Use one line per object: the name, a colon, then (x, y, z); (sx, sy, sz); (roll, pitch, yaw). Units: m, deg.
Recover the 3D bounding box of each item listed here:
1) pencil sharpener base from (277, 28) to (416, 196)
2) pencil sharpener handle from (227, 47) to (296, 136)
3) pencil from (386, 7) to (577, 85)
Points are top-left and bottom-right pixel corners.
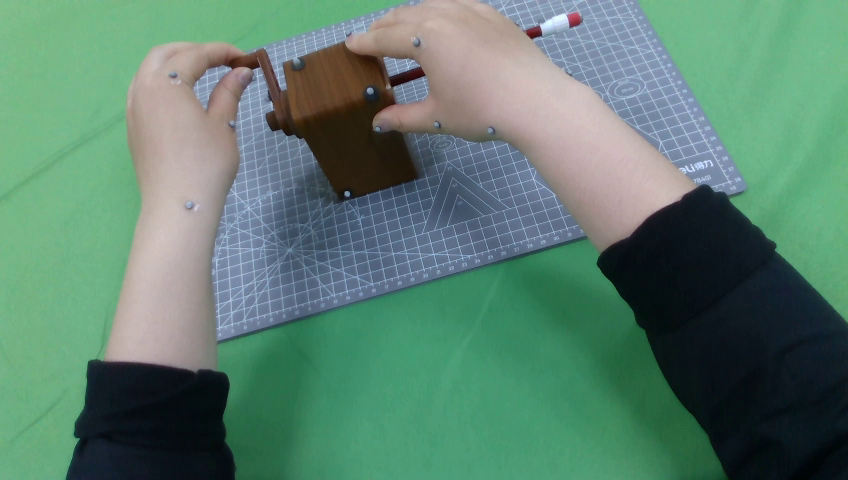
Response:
pencil sharpener base: (-0.057, -0.091, 0.458); (0.077, 0.108, 0.061); (-19, 60, 2)
pencil sharpener handle: (-0.116, -0.102, 0.434); (0.030, 0.036, 0.068); (-19, 93, 2)
pencil: (0.016, -0.128, 0.430); (0.194, 0.012, 0.012); (-19, 60, 3)
